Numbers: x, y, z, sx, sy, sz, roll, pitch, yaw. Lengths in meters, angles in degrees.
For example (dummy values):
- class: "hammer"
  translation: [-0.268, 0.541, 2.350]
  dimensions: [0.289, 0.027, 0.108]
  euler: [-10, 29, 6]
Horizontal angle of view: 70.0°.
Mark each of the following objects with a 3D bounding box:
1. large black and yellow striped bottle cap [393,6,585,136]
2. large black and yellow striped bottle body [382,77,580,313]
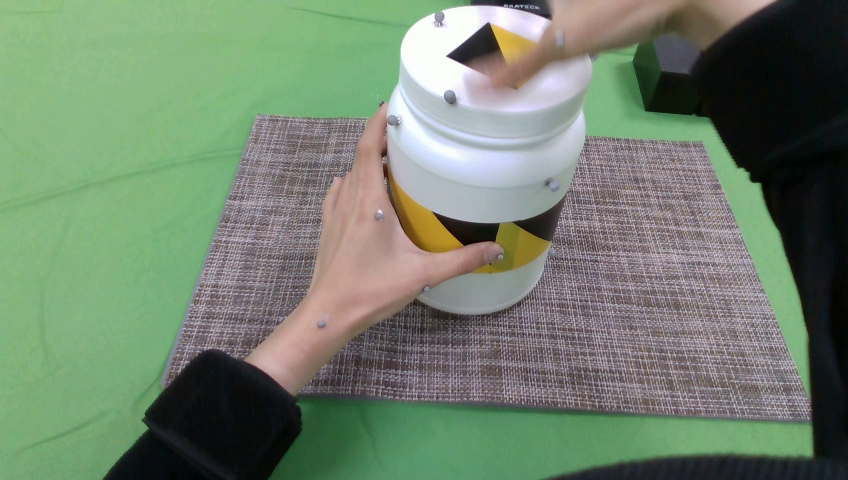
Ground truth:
- class: "large black and yellow striped bottle cap"
  translation: [0.039, -0.106, 0.366]
  dimensions: [0.115, 0.019, 0.114]
  euler: [4, 49, -4]
- class: "large black and yellow striped bottle body"
  translation: [0.035, -0.050, 0.430]
  dimensions: [0.131, 0.185, 0.129]
  euler: [2, 49, -2]
